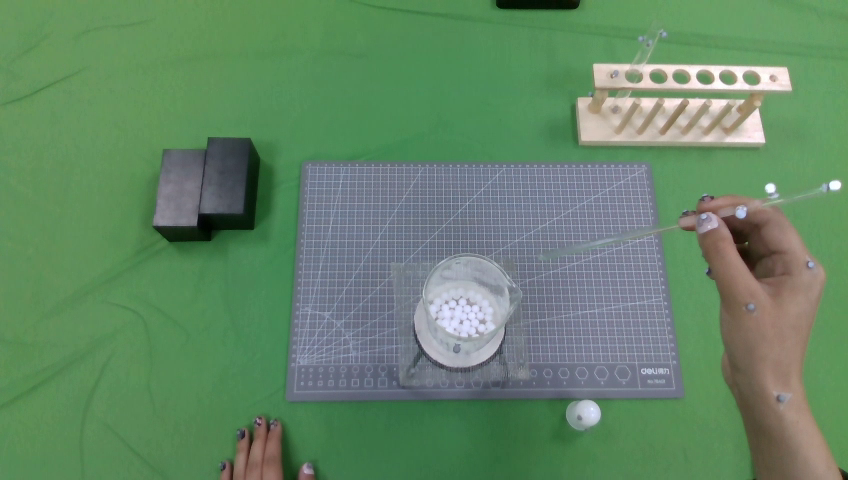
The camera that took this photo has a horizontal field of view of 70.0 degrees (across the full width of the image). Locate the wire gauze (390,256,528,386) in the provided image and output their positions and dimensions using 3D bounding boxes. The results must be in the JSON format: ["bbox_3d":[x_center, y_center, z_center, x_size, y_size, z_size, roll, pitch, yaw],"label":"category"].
[{"bbox_3d":[0.032,0.075,0.578,0.125,0.011,0.120,-4,68,-1],"label":"wire gauze"}]

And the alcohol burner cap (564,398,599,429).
[{"bbox_3d":[0.175,0.190,0.665,0.034,0.048,0.033,0,69,0],"label":"alcohol burner cap"}]

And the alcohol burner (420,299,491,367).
[{"bbox_3d":[0.035,0.097,0.651,0.078,0.120,0.077,1,69,-3],"label":"alcohol burner"}]

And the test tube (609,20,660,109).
[{"bbox_3d":[0.250,-0.207,0.731,0.017,0.151,0.017,0,67,0],"label":"test tube"}]

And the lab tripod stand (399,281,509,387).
[{"bbox_3d":[0.030,0.101,0.639,0.148,0.132,0.147,0,69,0],"label":"lab tripod stand"}]

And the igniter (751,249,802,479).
[{"bbox_3d":[0.402,0.142,0.696,0.057,0.025,0.275,10,70,-9],"label":"igniter"}]

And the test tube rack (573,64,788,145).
[{"bbox_3d":[0.323,-0.171,0.773,0.242,0.085,0.066,0,70,-1],"label":"test tube rack"}]

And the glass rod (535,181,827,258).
[{"bbox_3d":[0.165,-0.011,0.422,0.199,0.008,0.008,-17,64,37],"label":"glass rod"}]

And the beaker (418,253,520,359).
[{"bbox_3d":[0.036,0.062,0.532,0.084,0.101,0.073,-5,70,-3],"label":"beaker"}]
